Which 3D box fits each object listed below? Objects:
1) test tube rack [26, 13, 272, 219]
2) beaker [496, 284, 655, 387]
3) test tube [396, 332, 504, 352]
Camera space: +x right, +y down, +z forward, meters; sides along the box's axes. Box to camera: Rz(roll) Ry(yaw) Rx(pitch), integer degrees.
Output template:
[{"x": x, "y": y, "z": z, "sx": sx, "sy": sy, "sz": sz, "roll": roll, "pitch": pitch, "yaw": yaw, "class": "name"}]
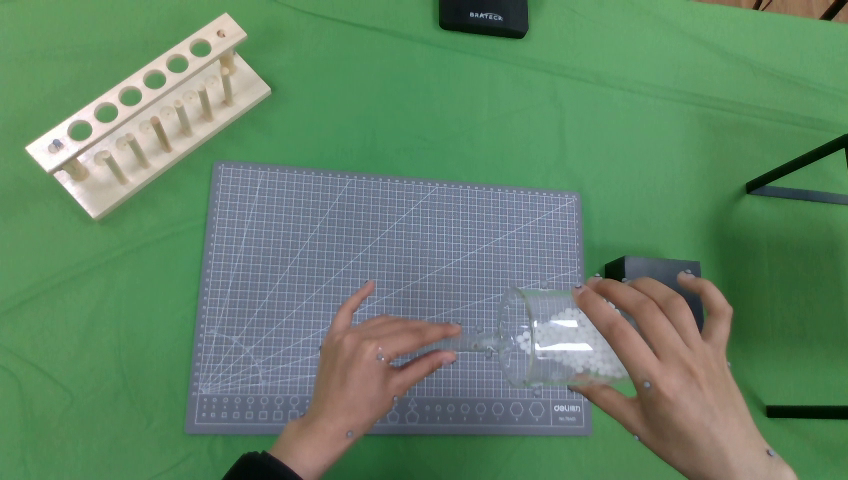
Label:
[{"x": -0.282, "y": -0.134, "z": 0.652, "sx": 0.242, "sy": 0.085, "sz": 0.066, "roll": -42, "pitch": 87, "yaw": -18, "class": "test tube rack"}, {"x": 0.111, "y": 0.073, "z": 0.455, "sx": 0.100, "sy": 0.084, "sz": 0.073, "roll": 3, "pitch": 75, "yaw": -12, "class": "beaker"}, {"x": 0.018, "y": 0.092, "z": 0.541, "sx": 0.017, "sy": 0.149, "sz": 0.017, "roll": 7, "pitch": 77, "yaw": -33, "class": "test tube"}]
